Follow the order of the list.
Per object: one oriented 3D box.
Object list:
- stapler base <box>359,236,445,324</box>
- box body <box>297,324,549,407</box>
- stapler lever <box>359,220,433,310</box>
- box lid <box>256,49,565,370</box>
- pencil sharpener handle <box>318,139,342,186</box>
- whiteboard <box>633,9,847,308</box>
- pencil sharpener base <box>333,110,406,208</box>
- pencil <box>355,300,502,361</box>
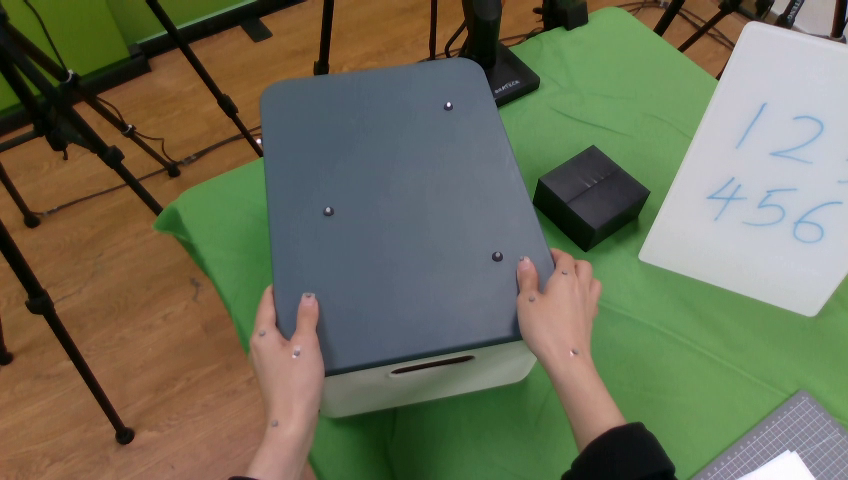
[{"bbox_3d":[-0.026,0.039,0.716,0.041,0.025,0.130,24,62,32],"label":"stapler base"},{"bbox_3d":[-0.031,-0.018,0.681,0.254,0.162,0.360,-10,58,-8],"label":"box body"},{"bbox_3d":[-0.032,0.026,0.697,0.026,0.040,0.118,24,60,33],"label":"stapler lever"},{"bbox_3d":[-0.030,-0.060,0.619,0.264,0.015,0.367,-9,58,-8],"label":"box lid"},{"bbox_3d":[-0.117,-0.091,0.737,0.031,0.068,0.035,-16,58,-11],"label":"pencil sharpener handle"},{"bbox_3d":[0.410,-0.106,0.705,0.216,0.308,0.143,20,39,11],"label":"whiteboard"},{"bbox_3d":[-0.068,-0.098,0.757,0.077,0.108,0.060,-16,58,-11],"label":"pencil sharpener base"},{"bbox_3d":[0.010,0.101,0.686,0.194,0.012,0.012,-17,58,-27],"label":"pencil"}]
